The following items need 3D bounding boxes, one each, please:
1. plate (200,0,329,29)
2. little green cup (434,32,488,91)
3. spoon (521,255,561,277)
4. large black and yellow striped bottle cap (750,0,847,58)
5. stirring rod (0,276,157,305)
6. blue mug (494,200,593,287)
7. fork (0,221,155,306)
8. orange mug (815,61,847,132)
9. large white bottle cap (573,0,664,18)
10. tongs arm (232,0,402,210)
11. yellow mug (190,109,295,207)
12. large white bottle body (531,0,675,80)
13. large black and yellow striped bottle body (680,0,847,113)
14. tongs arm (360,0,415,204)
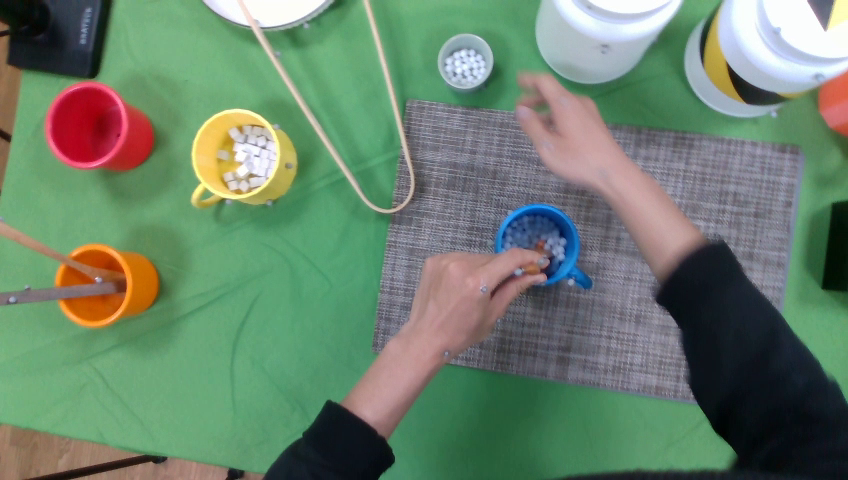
[{"bbox_3d":[-0.184,-0.349,0.715,0.207,0.039,0.207,0,89,4],"label":"plate"},{"bbox_3d":[0.043,-0.202,0.695,0.061,0.038,0.061,0,89,5],"label":"little green cup"},{"bbox_3d":[0.109,0.026,0.577,0.041,0.194,0.021,-8,89,13],"label":"spoon"},{"bbox_3d":[0.339,-0.214,0.515,0.115,0.019,0.115,0,90,4],"label":"large black and yellow striped bottle cap"},{"bbox_3d":[-0.391,0.056,0.673,0.177,0.006,0.014,-5,82,-37],"label":"stirring rod"},{"bbox_3d":[0.130,0.013,0.647,0.116,0.106,0.082,36,91,5],"label":"blue mug"},{"bbox_3d":[-0.395,0.020,0.668,0.209,0.018,0.028,38,86,-39],"label":"fork"},{"bbox_3d":[0.479,-0.147,0.631,0.083,0.101,0.126,-2,84,5],"label":"orange mug"},{"bbox_3d":[0.172,-0.253,0.528,0.115,0.018,0.114,0,89,5],"label":"large white bottle cap"},{"bbox_3d":[-0.143,-0.194,0.690,0.051,0.026,0.385,-30,94,0],"label":"tongs arm"},{"bbox_3d":[-0.218,-0.084,0.699,0.131,0.064,0.100,-43,87,3],"label":"yellow mug"},{"bbox_3d":[0.180,-0.250,0.612,0.130,0.185,0.130,0,88,5],"label":"large white bottle body"},{"bbox_3d":[0.347,-0.210,0.599,0.130,0.184,0.130,0,88,5],"label":"large black and yellow striped bottle body"},{"bbox_3d":[-0.067,-0.230,0.687,0.028,0.027,0.388,-17,94,-4],"label":"tongs arm"}]
